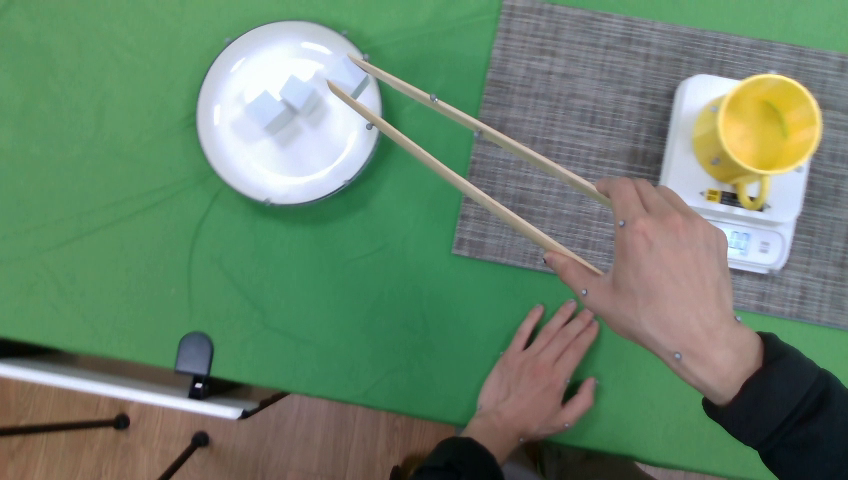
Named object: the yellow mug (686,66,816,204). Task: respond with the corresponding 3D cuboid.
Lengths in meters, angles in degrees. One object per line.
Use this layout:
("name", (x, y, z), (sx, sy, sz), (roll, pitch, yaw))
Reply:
("yellow mug", (0.328, -0.101, 0.614), (0.100, 0.064, 0.130), (0, 89, 2))

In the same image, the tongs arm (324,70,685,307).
("tongs arm", (0.041, -0.057, 0.514), (0.384, 0.028, 0.028), (38, 80, 27))

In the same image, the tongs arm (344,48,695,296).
("tongs arm", (0.056, -0.074, 0.516), (0.381, 0.027, 0.050), (33, 81, 27))

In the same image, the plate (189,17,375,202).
("plate", (-0.157, -0.144, 0.686), (0.207, 0.039, 0.207), (0, 88, 2))

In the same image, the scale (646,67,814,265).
("scale", (0.331, -0.080, 0.660), (0.148, 0.031, 0.200), (10, 88, 4))
